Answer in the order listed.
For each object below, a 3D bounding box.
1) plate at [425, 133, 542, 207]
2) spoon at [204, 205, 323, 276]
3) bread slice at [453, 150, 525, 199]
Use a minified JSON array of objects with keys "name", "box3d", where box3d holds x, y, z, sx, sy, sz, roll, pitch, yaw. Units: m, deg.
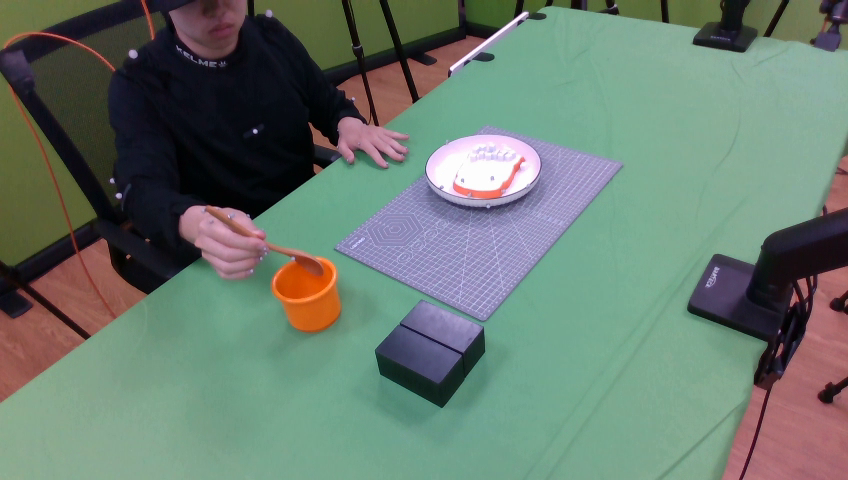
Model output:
[{"name":"plate","box3d":[0.106,-0.121,1.079,0.209,0.038,0.208,-4,41,4]},{"name":"spoon","box3d":[-0.201,0.004,0.778,0.041,0.195,0.021,1,68,38]},{"name":"bread slice","box3d":[0.112,-0.118,1.079,0.104,0.019,0.131,12,43,21]}]
